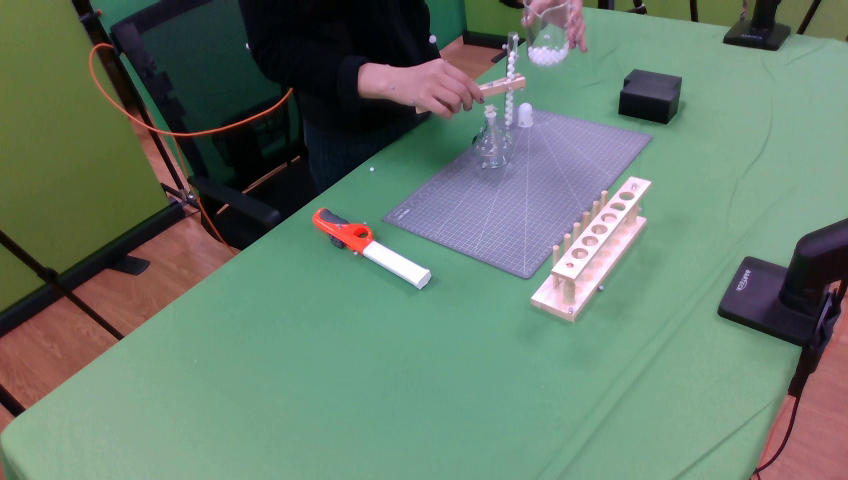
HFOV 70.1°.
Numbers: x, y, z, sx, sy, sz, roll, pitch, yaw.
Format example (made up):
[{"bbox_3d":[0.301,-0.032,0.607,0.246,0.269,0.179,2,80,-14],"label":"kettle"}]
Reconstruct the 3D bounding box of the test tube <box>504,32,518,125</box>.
[{"bbox_3d":[0.136,-0.249,0.948,0.017,0.151,0.017,-1,37,2],"label":"test tube"}]

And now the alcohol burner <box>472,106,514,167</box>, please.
[{"bbox_3d":[0.126,-0.194,1.111,0.078,0.119,0.077,-5,42,5],"label":"alcohol burner"}]

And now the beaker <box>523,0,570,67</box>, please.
[{"bbox_3d":[0.199,-0.338,0.980,0.073,0.101,0.084,9,46,22],"label":"beaker"}]

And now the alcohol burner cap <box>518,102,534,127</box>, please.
[{"bbox_3d":[0.205,-0.255,1.223,0.034,0.048,0.033,-6,41,6],"label":"alcohol burner cap"}]

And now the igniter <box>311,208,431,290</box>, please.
[{"bbox_3d":[-0.096,0.008,0.985,0.274,0.025,0.057,29,63,36],"label":"igniter"}]

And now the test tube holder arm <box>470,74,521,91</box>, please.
[{"bbox_3d":[0.113,-0.242,0.948,0.088,0.015,0.010,-22,36,-16],"label":"test tube holder arm"}]

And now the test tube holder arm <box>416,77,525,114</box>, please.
[{"bbox_3d":[0.073,-0.224,0.934,0.179,0.015,0.013,-18,35,-11],"label":"test tube holder arm"}]

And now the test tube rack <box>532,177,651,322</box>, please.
[{"bbox_3d":[0.248,0.003,0.883,0.066,0.085,0.243,22,49,32],"label":"test tube rack"}]
